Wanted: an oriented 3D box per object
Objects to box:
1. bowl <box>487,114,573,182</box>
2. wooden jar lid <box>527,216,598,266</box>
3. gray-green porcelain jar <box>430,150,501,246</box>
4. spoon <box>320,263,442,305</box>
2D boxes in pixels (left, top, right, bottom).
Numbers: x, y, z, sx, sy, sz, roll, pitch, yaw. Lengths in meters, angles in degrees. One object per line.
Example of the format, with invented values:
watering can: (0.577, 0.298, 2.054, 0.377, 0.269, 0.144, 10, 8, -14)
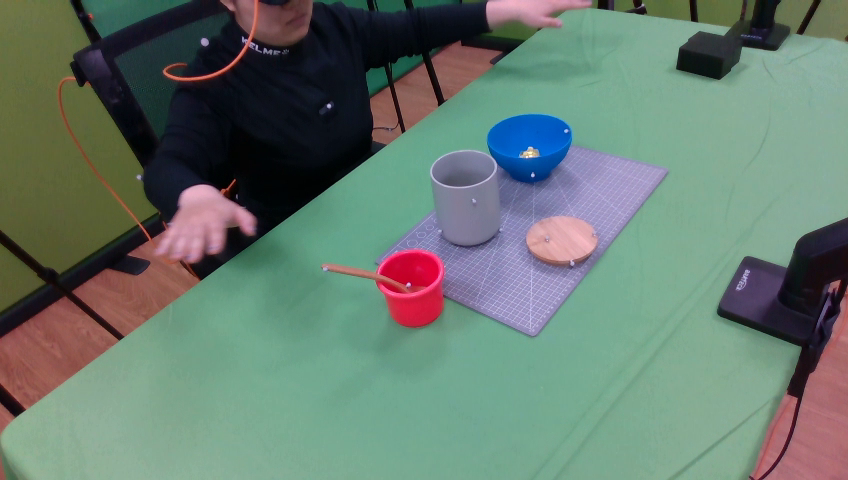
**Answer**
bowl: (0.190, -0.156, 1.085, 0.151, 0.077, 0.150, -5, 40, 5)
wooden jar lid: (0.214, 0.003, 0.937, 0.108, 0.021, 0.108, -4, 40, 4)
gray-green porcelain jar: (0.068, -0.062, 0.958, 0.106, 0.127, 0.105, -5, 40, 5)
spoon: (-0.055, 0.058, 0.831, 0.195, 0.021, 0.041, 22, 26, -34)
